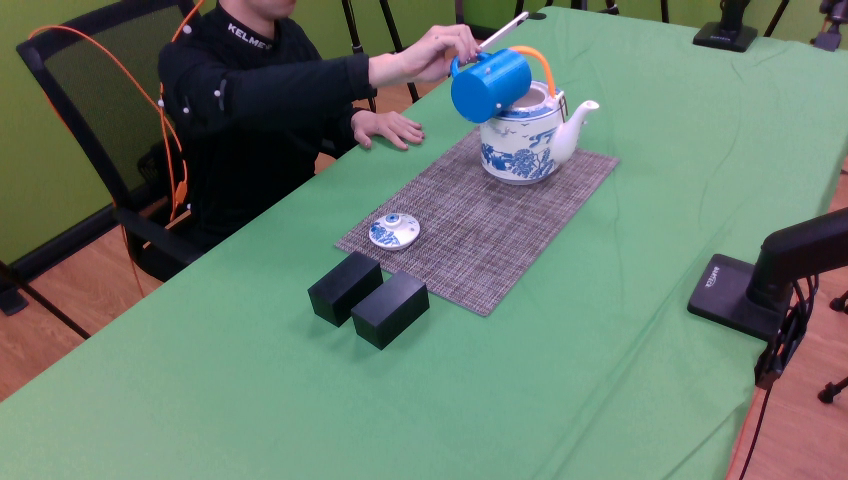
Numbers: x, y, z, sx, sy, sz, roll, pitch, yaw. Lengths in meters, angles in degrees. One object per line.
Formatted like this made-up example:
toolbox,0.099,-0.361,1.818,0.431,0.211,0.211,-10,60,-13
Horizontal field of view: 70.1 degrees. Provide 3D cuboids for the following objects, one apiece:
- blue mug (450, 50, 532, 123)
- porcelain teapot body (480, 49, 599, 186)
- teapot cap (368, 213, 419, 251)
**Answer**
blue mug,0.094,-0.253,0.947,0.116,0.082,0.106,46,55,9
porcelain teapot body,0.193,-0.208,1.024,0.204,0.226,0.145,16,46,25
teapot cap,-0.050,-0.019,0.975,0.085,0.044,0.084,-4,43,4
